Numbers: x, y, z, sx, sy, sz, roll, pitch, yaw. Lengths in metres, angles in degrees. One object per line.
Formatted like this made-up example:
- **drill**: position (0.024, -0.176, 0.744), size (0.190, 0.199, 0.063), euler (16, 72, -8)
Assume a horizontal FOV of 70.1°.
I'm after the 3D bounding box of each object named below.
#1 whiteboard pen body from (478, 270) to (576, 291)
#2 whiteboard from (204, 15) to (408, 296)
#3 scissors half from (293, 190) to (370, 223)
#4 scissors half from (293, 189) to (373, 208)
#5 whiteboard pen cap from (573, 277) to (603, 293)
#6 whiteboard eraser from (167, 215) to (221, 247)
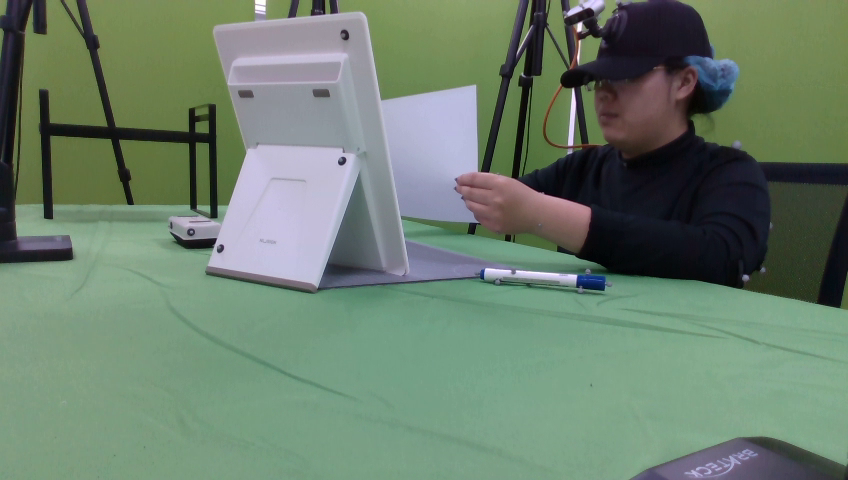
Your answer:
- **whiteboard pen body**: position (0.131, 0.048, 0.706), size (0.140, 0.017, 0.017), euler (4, 7, 18)
- **whiteboard**: position (-0.166, -0.072, 0.669), size (0.216, 0.305, 0.144), euler (8, 30, 30)
- **scissors half**: position (-0.205, -0.078, 1.338), size (0.175, 0.040, 0.013), euler (22, 12, -8)
- **scissors half**: position (-0.201, -0.096, 1.332), size (0.175, 0.040, 0.013), euler (5, 19, -4)
- **whiteboard pen cap**: position (0.186, 0.051, 0.687), size (0.033, 0.018, 0.018), euler (5, 8, 17)
- **whiteboard eraser**: position (-0.350, -0.014, 0.920), size (0.056, 0.042, 0.112), euler (0, 7, -35)
